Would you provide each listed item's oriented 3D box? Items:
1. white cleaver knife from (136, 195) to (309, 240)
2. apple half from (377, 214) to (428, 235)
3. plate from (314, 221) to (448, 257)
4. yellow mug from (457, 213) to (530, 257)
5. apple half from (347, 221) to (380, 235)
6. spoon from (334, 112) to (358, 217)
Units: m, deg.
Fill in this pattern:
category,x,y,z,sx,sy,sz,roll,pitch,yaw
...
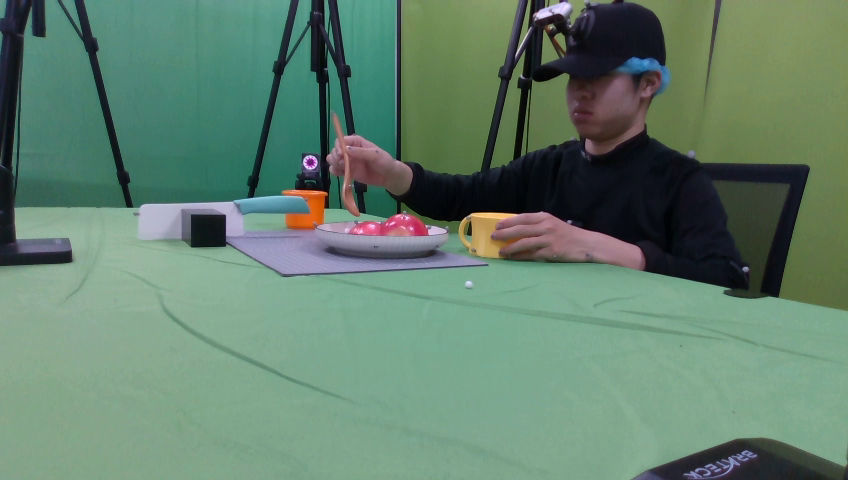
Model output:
category,x,y,z,sx,sy,sz,roll,pitch,yaw
white cleaver knife,-0.337,-0.039,1.037,0.288,0.066,0.021,-6,15,-29
apple half,-0.034,-0.013,0.924,0.080,0.053,0.075,5,10,16
plate,-0.067,-0.002,0.947,0.209,0.038,0.209,3,7,0
yellow mug,0.109,-0.011,0.992,0.130,0.064,0.100,6,6,36
apple half,-0.088,-0.014,0.985,0.081,0.033,0.081,4,6,0
spoon,-0.132,-0.129,1.015,0.021,0.193,0.042,-12,-16,16
